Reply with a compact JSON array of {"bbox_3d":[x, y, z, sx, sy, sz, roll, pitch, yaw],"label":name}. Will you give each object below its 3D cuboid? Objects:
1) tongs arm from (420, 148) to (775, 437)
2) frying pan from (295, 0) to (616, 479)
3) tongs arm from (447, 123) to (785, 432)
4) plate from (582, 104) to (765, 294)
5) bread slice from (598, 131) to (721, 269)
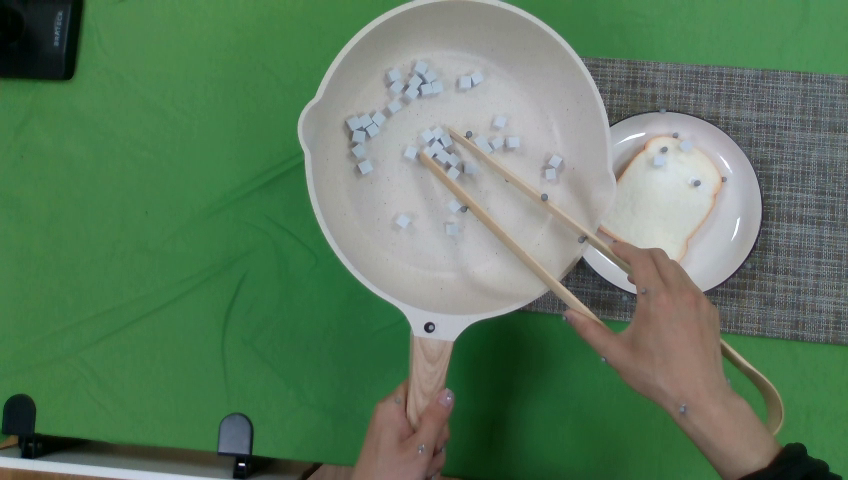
[{"bbox_3d":[0.137,0.041,0.541,0.385,0.028,0.028,42,77,13],"label":"tongs arm"},{"bbox_3d":[0.016,0.027,0.564,0.308,0.102,0.486,11,84,-15],"label":"frying pan"},{"bbox_3d":[0.155,0.023,0.544,0.383,0.027,0.050,39,80,13],"label":"tongs arm"},{"bbox_3d":[0.261,-0.043,0.668,0.207,0.039,0.207,0,85,5],"label":"plate"},{"bbox_3d":[0.259,-0.051,0.671,0.107,0.018,0.134,29,90,6],"label":"bread slice"}]
